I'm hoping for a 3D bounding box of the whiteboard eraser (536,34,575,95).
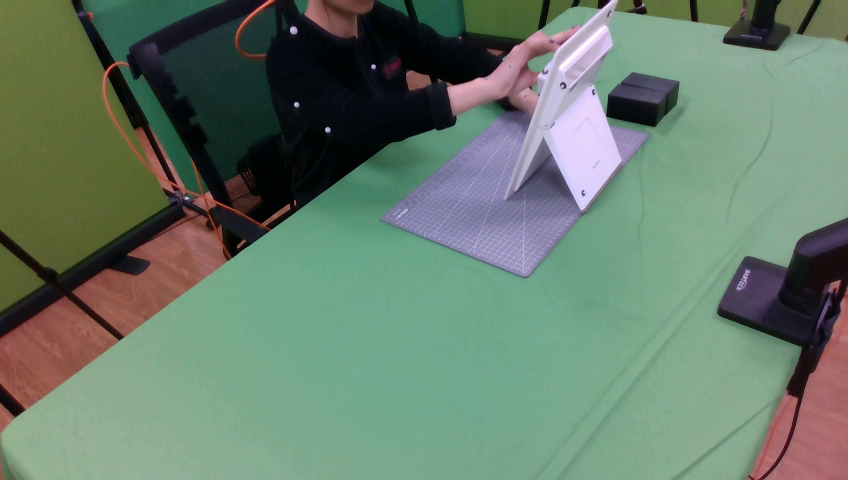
[{"bbox_3d":[0.229,-0.279,0.987,0.041,0.056,0.113,36,74,19],"label":"whiteboard eraser"}]

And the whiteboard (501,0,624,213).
[{"bbox_3d":[0.271,-0.189,0.977,0.143,0.306,0.218,34,54,16],"label":"whiteboard"}]
